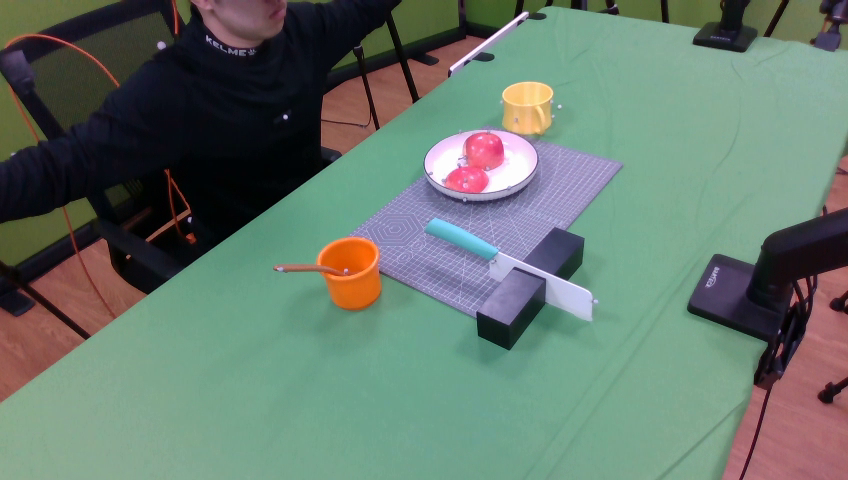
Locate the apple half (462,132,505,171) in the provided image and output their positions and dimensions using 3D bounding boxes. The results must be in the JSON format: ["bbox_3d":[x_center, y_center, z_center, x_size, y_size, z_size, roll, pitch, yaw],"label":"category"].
[{"bbox_3d":[0.109,-0.169,1.110,0.075,0.053,0.080,-6,40,-2],"label":"apple half"}]

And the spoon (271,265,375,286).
[{"bbox_3d":[-0.136,0.046,0.839,0.041,0.195,0.021,24,94,35],"label":"spoon"}]

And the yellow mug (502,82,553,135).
[{"bbox_3d":[0.212,-0.256,1.203,0.100,0.064,0.130,-16,42,-9],"label":"yellow mug"}]

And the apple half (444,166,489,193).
[{"bbox_3d":[0.074,-0.112,1.062,0.081,0.033,0.081,-6,39,5],"label":"apple half"}]

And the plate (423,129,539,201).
[{"bbox_3d":[0.103,-0.132,1.092,0.209,0.038,0.208,-4,40,4],"label":"plate"}]

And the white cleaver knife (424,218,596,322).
[{"bbox_3d":[0.114,0.042,0.865,0.284,0.066,0.021,27,47,28],"label":"white cleaver knife"}]
